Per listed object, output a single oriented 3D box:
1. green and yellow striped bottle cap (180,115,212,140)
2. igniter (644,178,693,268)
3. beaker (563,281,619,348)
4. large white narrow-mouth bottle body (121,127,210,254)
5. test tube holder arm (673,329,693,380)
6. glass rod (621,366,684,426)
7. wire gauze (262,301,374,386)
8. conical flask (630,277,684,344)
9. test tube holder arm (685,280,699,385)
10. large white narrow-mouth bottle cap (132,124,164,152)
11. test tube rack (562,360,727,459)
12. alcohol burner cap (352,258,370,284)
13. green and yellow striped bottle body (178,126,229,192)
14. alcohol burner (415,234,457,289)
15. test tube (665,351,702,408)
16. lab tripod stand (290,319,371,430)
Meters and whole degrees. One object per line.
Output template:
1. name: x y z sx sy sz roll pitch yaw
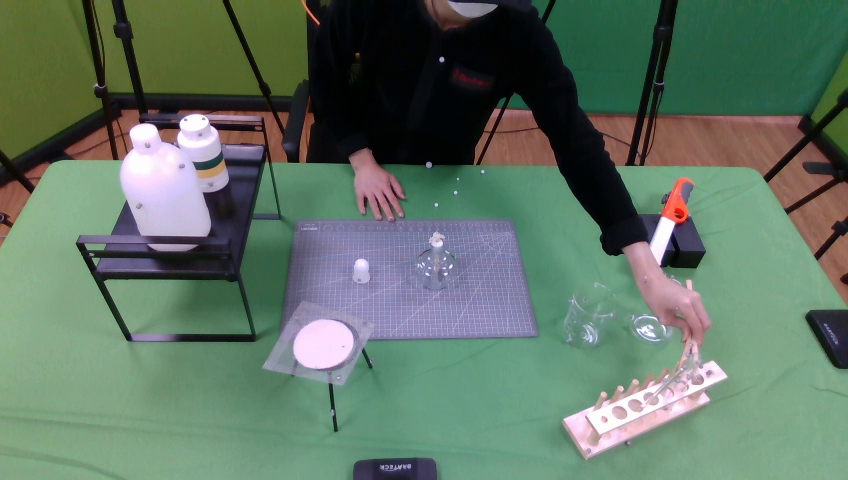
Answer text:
1. green and yellow striped bottle cap: -0.358 -0.177 0.951 0.045 0.020 0.045 1 44 -1
2. igniter: 0.488 -0.042 1.204 0.057 0.025 0.276 30 51 10
3. beaker: 0.283 0.129 1.041 0.074 0.101 0.083 11 46 7
4. large white narrow-mouth bottle body: -0.378 -0.077 0.875 0.102 0.195 0.101 3 46 -3
5. test tube holder arm: 0.391 0.170 0.907 0.010 0.015 0.087 25 58 19
6. glass rod: 0.322 0.227 0.866 0.008 0.200 0.008 6 51 -7
7. wire gauze: -0.150 0.148 0.873 0.121 0.011 0.124 14 46 12
8. conical flask: 0.409 0.117 1.044 0.075 0.122 0.075 2 46 -2
9. test tube holder arm: 0.411 0.138 0.931 0.013 0.015 0.177 10 54 8
10. large white narrow-mouth bottle cap: -0.370 -0.137 0.813 0.038 0.024 0.037 3 46 -3
11. test tube rack: 0.341 0.247 0.940 0.243 0.085 0.066 -16 49 -18
12. alcohol burner cap: -0.117 0.055 1.118 0.034 0.048 0.033 2 45 -1
13. green and yellow striped bottle body: -0.361 -0.142 0.989 0.063 0.120 0.063 2 46 -2
14. alcohol burner: 0.022 0.034 1.100 0.078 0.120 0.077 1 47 0
15. test tube: 0.385 0.213 0.908 0.017 0.151 0.017 -1 48 1
16. lab tripod stand: -0.146 0.194 0.923 0.148 0.132 0.147 1 47 -1
